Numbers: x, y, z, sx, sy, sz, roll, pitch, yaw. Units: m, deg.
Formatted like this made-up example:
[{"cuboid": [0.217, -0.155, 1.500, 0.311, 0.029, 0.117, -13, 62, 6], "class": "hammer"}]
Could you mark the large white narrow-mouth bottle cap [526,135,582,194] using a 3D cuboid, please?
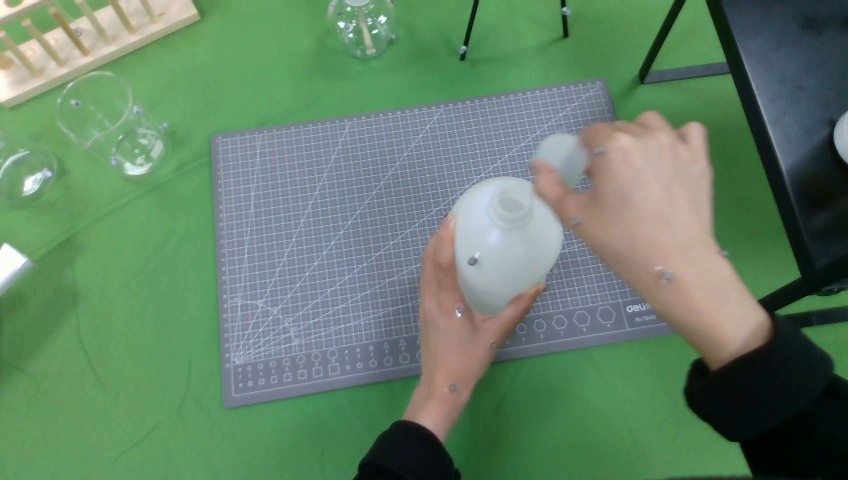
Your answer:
[{"cuboid": [0.090, -0.051, 0.415, 0.038, 0.024, 0.037, 0, 72, 1], "class": "large white narrow-mouth bottle cap"}]

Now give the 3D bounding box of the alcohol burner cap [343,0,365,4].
[{"cuboid": [-0.075, -0.275, 0.634, 0.034, 0.048, 0.033, 0, 70, 0], "class": "alcohol burner cap"}]

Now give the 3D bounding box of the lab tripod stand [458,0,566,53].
[{"cuboid": [0.095, -0.286, 0.663, 0.148, 0.132, 0.147, 0, 70, 0], "class": "lab tripod stand"}]

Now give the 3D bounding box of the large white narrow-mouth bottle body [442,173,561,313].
[{"cuboid": [0.067, -0.001, 0.532, 0.102, 0.196, 0.101, 0, 72, 1], "class": "large white narrow-mouth bottle body"}]

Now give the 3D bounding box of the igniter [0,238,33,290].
[{"cuboid": [-0.469, 0.112, 0.540, 0.057, 0.025, 0.276, 34, 72, 10], "class": "igniter"}]

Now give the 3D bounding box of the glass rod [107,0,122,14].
[{"cuboid": [-0.377, -0.312, 0.633, 0.008, 0.201, 0.008, -3, 65, 7], "class": "glass rod"}]

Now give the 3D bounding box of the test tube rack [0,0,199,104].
[{"cuboid": [-0.393, -0.253, 0.683, 0.242, 0.086, 0.066, -29, 73, -9], "class": "test tube rack"}]

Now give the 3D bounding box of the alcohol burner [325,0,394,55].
[{"cuboid": [-0.073, -0.262, 0.668, 0.078, 0.120, 0.077, 0, 69, 0], "class": "alcohol burner"}]

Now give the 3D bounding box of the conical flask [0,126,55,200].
[{"cuboid": [-0.442, -0.096, 0.610, 0.075, 0.122, 0.075, 0, 70, 1], "class": "conical flask"}]

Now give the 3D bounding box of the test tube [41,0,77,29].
[{"cuboid": [-0.417, -0.278, 0.639, 0.017, 0.151, 0.017, -2, 68, 5], "class": "test tube"}]

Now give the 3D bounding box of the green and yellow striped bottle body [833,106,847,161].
[{"cuboid": [0.345, -0.098, 0.412, 0.063, 0.120, 0.063, 0, 70, 1], "class": "green and yellow striped bottle body"}]

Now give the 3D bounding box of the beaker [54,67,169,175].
[{"cuboid": [-0.318, -0.116, 0.628, 0.074, 0.101, 0.083, 6, 71, 4], "class": "beaker"}]
